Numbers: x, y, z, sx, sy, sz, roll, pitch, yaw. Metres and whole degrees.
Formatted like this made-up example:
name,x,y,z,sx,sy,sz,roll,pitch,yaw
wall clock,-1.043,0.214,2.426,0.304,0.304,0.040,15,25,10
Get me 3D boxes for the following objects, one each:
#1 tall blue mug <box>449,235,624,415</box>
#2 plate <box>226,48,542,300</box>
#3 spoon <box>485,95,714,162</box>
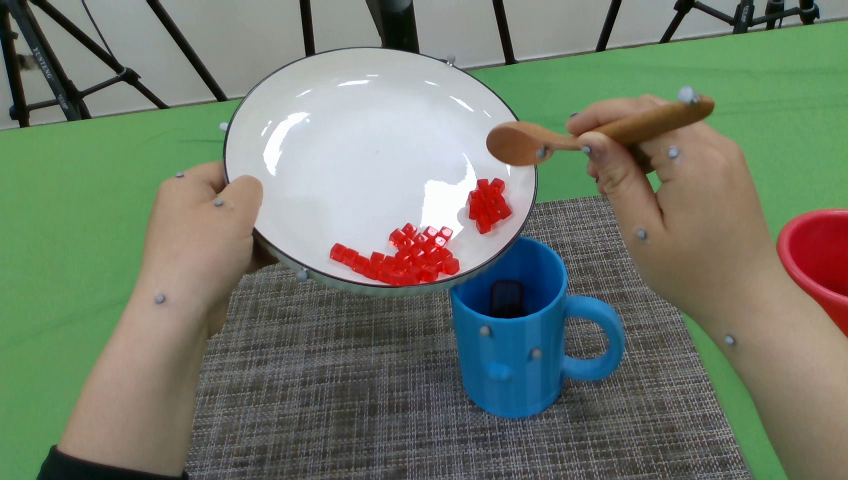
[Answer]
name,x,y,z,sx,sy,sz,roll,pitch,yaw
tall blue mug,0.075,0.058,0.421,0.107,0.109,0.077,-12,42,-2
plate,-0.025,-0.048,0.415,0.208,0.039,0.205,5,57,-7
spoon,0.082,-0.056,0.326,0.021,0.042,0.192,-60,18,-2
